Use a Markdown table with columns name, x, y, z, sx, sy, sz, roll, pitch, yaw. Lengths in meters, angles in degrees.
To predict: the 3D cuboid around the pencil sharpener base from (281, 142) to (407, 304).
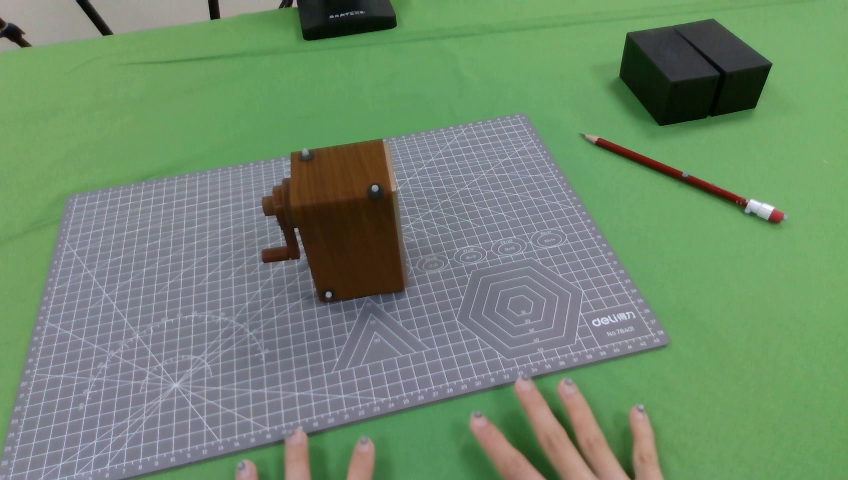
| name | x | y | z | sx | sy | sz | roll | pitch | yaw |
| --- | --- | --- | --- | --- | --- | --- | --- | --- | --- |
| pencil sharpener base | -0.056 | -0.009 | 0.446 | 0.077 | 0.108 | 0.060 | -9 | 46 | -4 |

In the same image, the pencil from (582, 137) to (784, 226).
| name | x | y | z | sx | sy | sz | roll | pitch | yaw |
| --- | --- | --- | --- | --- | --- | --- | --- | --- | --- |
| pencil | 0.226 | -0.059 | 0.548 | 0.192 | 0.012 | 0.012 | 32 | 56 | 32 |

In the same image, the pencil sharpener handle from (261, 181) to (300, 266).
| name | x | y | z | sx | sy | sz | roll | pitch | yaw |
| --- | --- | --- | --- | --- | --- | --- | --- | --- | --- |
| pencil sharpener handle | -0.107 | -0.009 | 0.432 | 0.031 | 0.068 | 0.035 | -9 | 39 | -4 |
